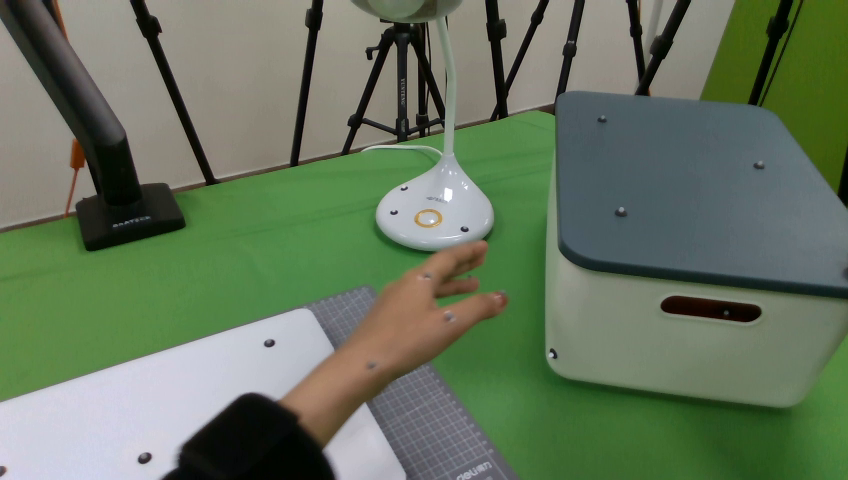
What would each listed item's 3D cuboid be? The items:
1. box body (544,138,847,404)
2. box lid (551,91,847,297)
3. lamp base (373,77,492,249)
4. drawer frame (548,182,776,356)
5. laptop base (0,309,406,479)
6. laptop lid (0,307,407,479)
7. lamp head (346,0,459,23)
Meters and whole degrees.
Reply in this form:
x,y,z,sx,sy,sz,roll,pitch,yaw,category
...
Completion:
x,y,z,sx,sy,sz,roll,pitch,yaw,category
0.264,-0.010,0.668,0.254,0.162,0.361,6,35,7,box body
0.263,-0.070,0.613,0.263,0.015,0.368,6,35,6,box lid
0.014,-0.107,0.781,0.160,0.181,0.178,6,33,7,lamp base
0.245,0.022,0.679,0.201,0.083,0.212,4,33,5,drawer frame
-0.220,0.183,0.490,0.355,0.023,0.233,-17,43,-25,laptop base
-0.219,0.175,0.482,0.358,0.013,0.239,-16,41,-24,laptop lid
-0.017,-0.276,0.553,0.112,0.113,0.122,3,75,3,lamp head
